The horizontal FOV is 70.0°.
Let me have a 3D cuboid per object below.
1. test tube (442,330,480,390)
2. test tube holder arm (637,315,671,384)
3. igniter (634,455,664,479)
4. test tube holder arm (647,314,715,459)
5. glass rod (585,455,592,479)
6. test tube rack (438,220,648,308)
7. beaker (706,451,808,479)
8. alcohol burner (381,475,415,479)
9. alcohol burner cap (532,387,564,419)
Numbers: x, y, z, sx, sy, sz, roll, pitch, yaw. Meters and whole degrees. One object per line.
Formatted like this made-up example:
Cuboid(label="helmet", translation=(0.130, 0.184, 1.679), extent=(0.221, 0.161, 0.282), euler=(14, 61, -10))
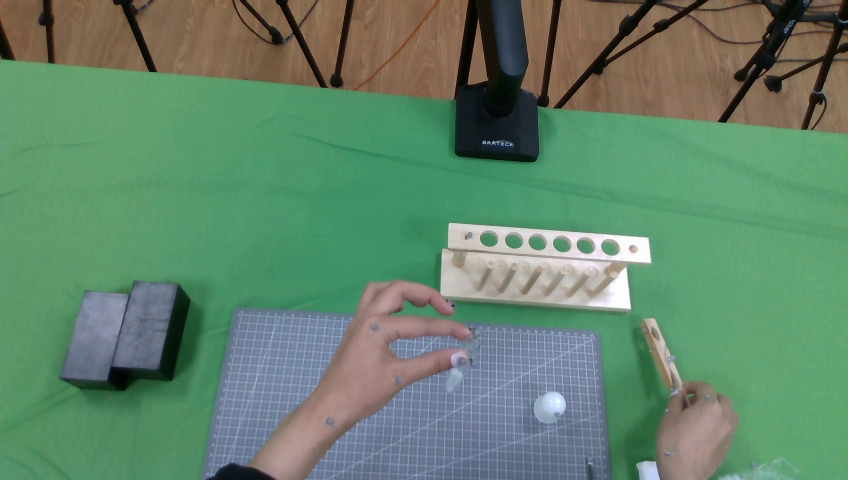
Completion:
Cuboid(label="test tube", translation=(0.032, 0.115, 0.560), extent=(0.017, 0.151, 0.017), euler=(2, 62, -4))
Cuboid(label="test tube holder arm", translation=(0.282, 0.133, 0.737), extent=(0.010, 0.015, 0.087), euler=(-8, 57, -11))
Cuboid(label="igniter", translation=(0.248, 0.370, 0.631), extent=(0.057, 0.025, 0.274), euler=(9, 64, -12))
Cuboid(label="test tube holder arm", translation=(0.297, 0.168, 0.714), extent=(0.013, 0.015, 0.176), euler=(-9, 57, -11))
Cuboid(label="glass rod", translation=(0.183, 0.335, 0.649), extent=(0.008, 0.008, 0.198), euler=(4, 65, -4))
Cuboid(label="test tube rack", translation=(0.143, 0.031, 0.747), extent=(0.242, 0.086, 0.066), euler=(4, 64, -3))
Cuboid(label="beaker", translation=(0.352, 0.273, 0.646), extent=(0.074, 0.101, 0.083), euler=(17, 64, 3))
Cuboid(label="alcohol burner", translation=(-0.026, 0.272, 0.600), extent=(0.078, 0.120, 0.077), euler=(2, 62, -3))
Cuboid(label="alcohol burner cap", translation=(0.145, 0.185, 0.696), extent=(0.034, 0.048, 0.033), euler=(2, 64, -5))
